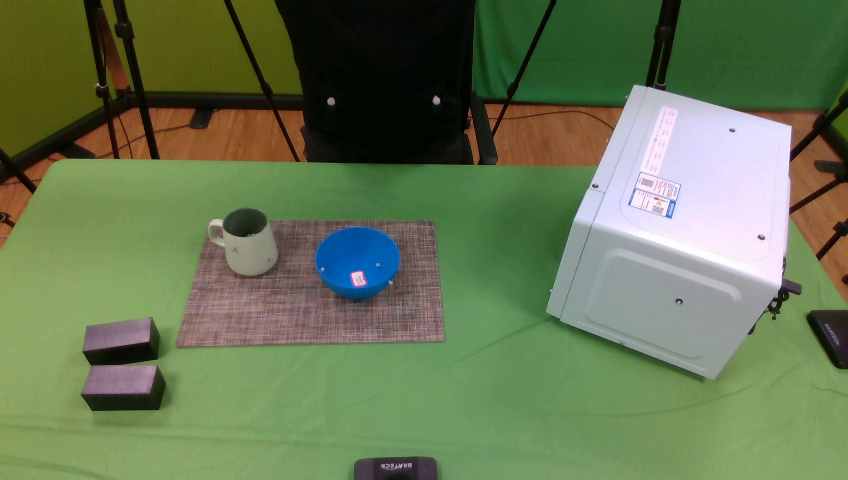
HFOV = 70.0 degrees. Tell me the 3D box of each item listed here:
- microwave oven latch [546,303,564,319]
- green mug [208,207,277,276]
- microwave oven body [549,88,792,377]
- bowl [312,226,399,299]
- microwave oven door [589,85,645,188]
[{"bbox_3d":[0.242,0.102,1.081,0.030,0.029,0.079,21,48,17],"label":"microwave oven latch"},{"bbox_3d":[-0.335,0.000,1.108,0.125,0.105,0.092,14,47,9],"label":"green mug"},{"bbox_3d":[0.456,-0.028,1.088,0.325,0.261,0.440,20,47,16],"label":"microwave oven body"},{"bbox_3d":[-0.120,0.054,1.091,0.151,0.077,0.150,2,46,-2],"label":"bowl"},{"bbox_3d":[0.342,-0.107,1.149,0.039,0.245,0.354,20,48,15],"label":"microwave oven door"}]
